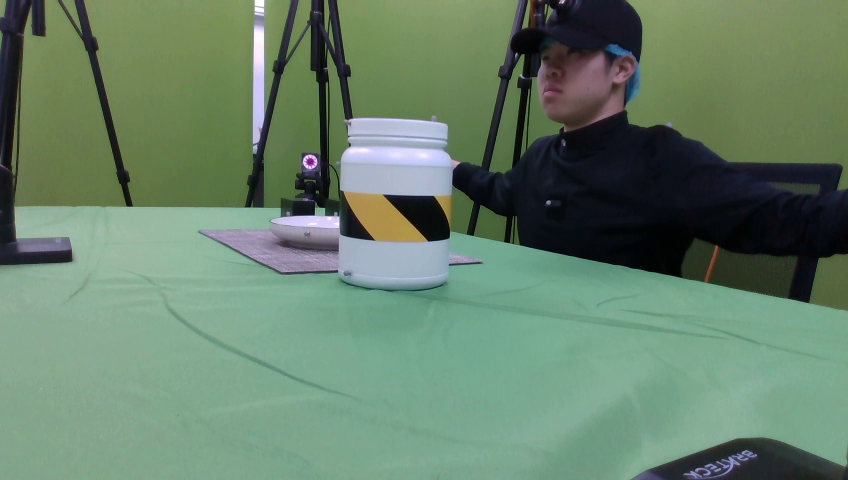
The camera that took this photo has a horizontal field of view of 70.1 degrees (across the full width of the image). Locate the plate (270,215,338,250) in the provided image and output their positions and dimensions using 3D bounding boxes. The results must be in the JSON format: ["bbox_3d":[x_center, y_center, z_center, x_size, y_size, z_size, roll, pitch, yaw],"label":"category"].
[{"bbox_3d":[-0.145,-0.013,0.992,0.208,0.039,0.207,2,7,0],"label":"plate"}]

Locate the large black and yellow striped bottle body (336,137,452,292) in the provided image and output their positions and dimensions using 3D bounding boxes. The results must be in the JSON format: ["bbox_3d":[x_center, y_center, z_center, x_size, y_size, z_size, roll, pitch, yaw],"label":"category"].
[{"bbox_3d":[-0.034,-0.041,0.702,0.131,0.184,0.130,3,7,0],"label":"large black and yellow striped bottle body"}]

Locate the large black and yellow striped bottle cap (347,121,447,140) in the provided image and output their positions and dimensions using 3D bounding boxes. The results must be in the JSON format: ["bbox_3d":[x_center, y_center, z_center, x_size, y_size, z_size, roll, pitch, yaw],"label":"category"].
[{"bbox_3d":[-0.031,-0.124,0.691,0.115,0.019,0.115,1,7,0],"label":"large black and yellow striped bottle cap"}]
